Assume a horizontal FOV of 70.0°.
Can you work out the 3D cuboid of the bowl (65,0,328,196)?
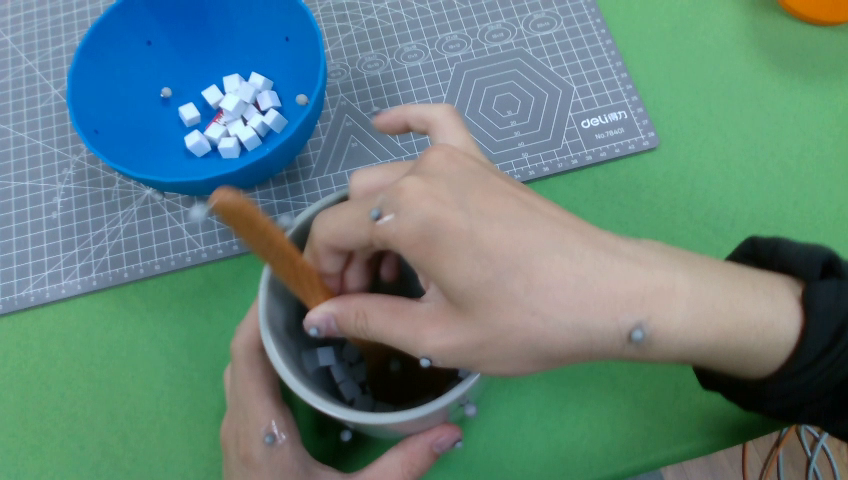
[{"bbox_3d":[-0.130,-0.086,0.384,0.151,0.077,0.150,0,69,1],"label":"bowl"}]

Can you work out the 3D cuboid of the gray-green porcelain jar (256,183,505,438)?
[{"bbox_3d":[-0.016,0.045,0.310,0.106,0.127,0.105,-1,69,2],"label":"gray-green porcelain jar"}]
